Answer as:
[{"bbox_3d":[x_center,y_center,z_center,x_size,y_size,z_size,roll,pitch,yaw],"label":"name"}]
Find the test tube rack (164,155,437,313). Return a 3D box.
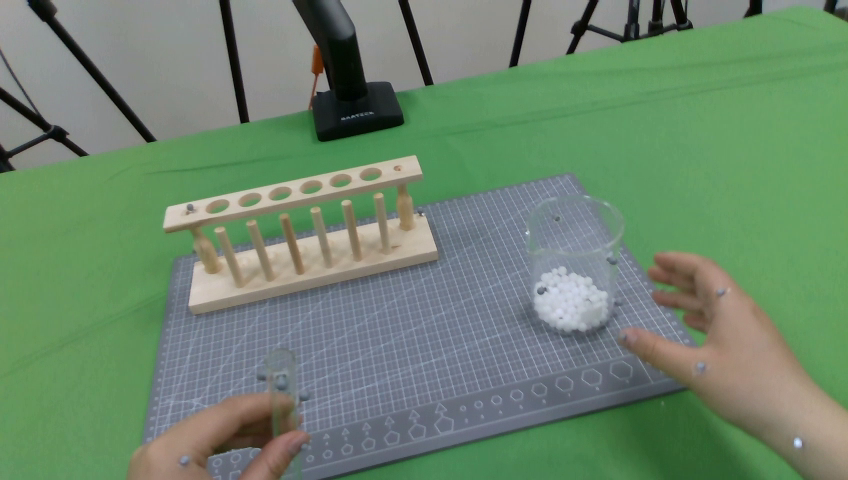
[{"bbox_3d":[-0.115,-0.007,0.590,0.242,0.086,0.066,-12,41,-5],"label":"test tube rack"}]

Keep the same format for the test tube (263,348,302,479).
[{"bbox_3d":[-0.082,0.116,0.359,0.017,0.151,0.017,5,41,-4],"label":"test tube"}]

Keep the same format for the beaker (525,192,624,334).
[{"bbox_3d":[0.121,0.024,0.503,0.084,0.101,0.073,-26,43,-17],"label":"beaker"}]
